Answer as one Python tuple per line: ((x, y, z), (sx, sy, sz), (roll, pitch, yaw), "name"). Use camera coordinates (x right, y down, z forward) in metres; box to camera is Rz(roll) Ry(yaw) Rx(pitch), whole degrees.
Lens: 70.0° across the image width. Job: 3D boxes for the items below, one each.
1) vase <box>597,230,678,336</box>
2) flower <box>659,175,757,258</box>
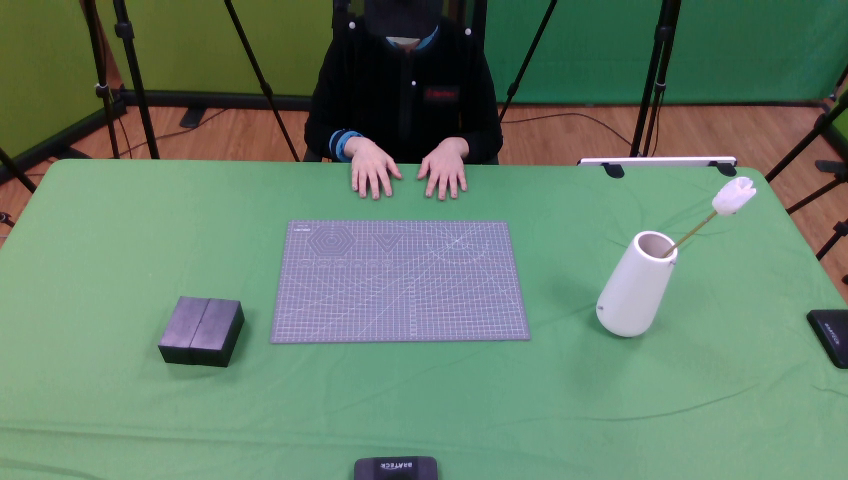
((0.360, 0.077, 1.026), (0.098, 0.201, 0.097), (1, 47, -1), "vase")
((0.385, 0.024, 0.965), (0.038, 0.363, 0.044), (38, 47, 7), "flower")
